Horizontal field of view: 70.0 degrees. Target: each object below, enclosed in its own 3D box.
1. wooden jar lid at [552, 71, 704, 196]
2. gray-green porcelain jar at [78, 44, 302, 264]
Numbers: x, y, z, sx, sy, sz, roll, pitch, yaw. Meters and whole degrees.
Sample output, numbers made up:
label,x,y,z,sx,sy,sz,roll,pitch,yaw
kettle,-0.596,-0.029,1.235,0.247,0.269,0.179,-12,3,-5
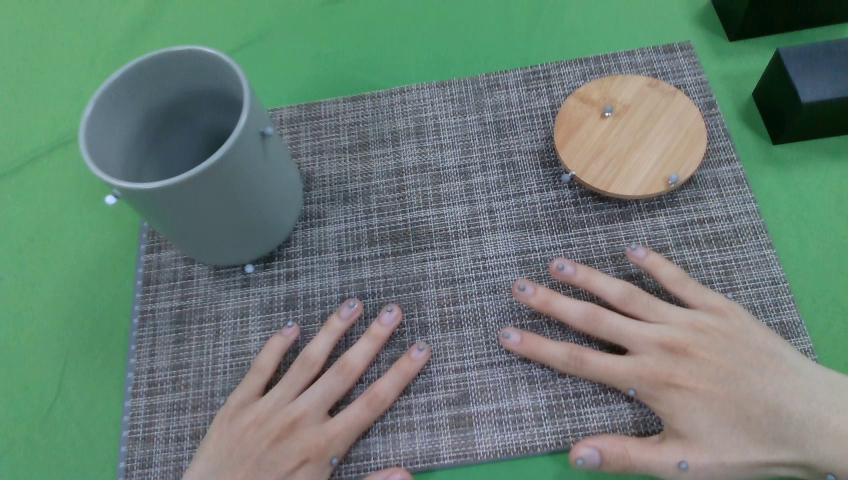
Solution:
label,x,y,z,sx,sy,sz,roll,pitch,yaw
wooden jar lid,0.150,-0.078,0.450,0.108,0.021,0.107,-2,66,6
gray-green porcelain jar,-0.147,-0.049,0.413,0.106,0.127,0.105,-3,64,6
